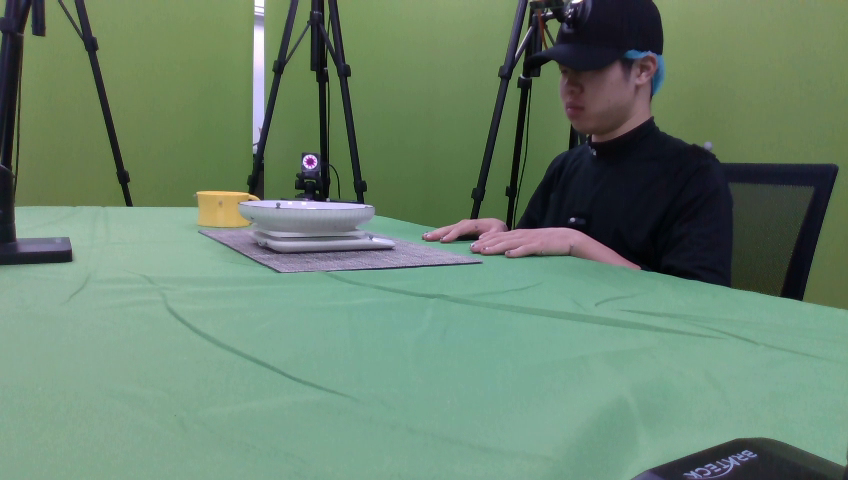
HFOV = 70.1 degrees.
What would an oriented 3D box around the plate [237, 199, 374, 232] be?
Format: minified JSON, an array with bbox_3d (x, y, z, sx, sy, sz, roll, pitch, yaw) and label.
[{"bbox_3d":[-0.183,-0.039,0.941,0.209,0.038,0.209,3,7,0],"label":"plate"}]

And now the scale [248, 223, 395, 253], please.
[{"bbox_3d":[-0.162,-0.006,0.954,0.202,0.031,0.148,-2,8,-32],"label":"scale"}]

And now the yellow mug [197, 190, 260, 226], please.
[{"bbox_3d":[-0.389,-0.065,1.223,0.131,0.064,0.099,-1,8,-34],"label":"yellow mug"}]
